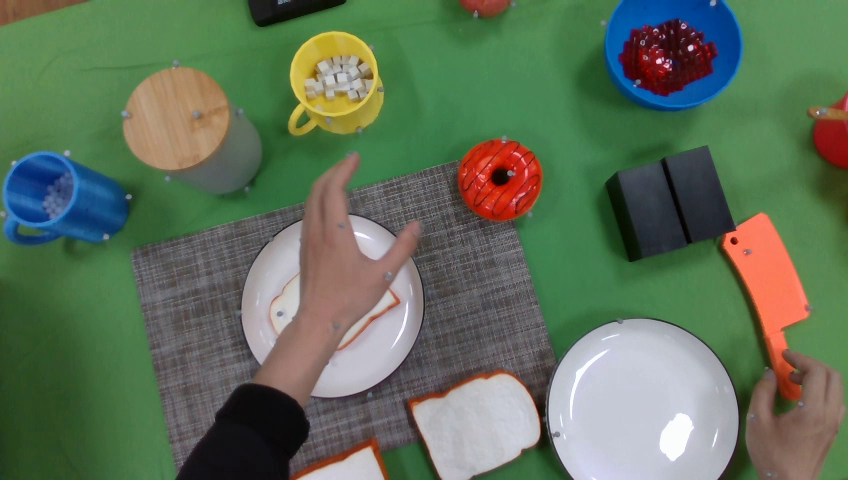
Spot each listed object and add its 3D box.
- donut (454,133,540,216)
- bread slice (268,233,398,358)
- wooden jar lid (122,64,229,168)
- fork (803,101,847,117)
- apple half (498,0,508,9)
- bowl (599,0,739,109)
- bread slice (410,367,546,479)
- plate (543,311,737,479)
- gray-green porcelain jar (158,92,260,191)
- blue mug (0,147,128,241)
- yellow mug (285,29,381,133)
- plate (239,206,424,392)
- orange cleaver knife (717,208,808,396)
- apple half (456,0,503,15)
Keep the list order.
[{"bbox_3d":[0.084,-0.076,0.700,0.099,0.048,0.099,0,84,2],"label":"donut"},{"bbox_3d":[-0.111,0.071,0.693,0.131,0.019,0.104,-41,83,-6],"label":"bread slice"},{"bbox_3d":[-0.250,-0.124,0.615,0.108,0.021,0.108,0,81,3],"label":"wooden jar lid"},{"bbox_3d":[0.451,-0.133,0.649,0.208,0.018,0.028,-2,81,-41],"label":"fork"},{"bbox_3d":[0.079,-0.320,0.720,0.080,0.075,0.053,40,80,10],"label":"apple half"},{"bbox_3d":[0.270,-0.214,0.699,0.151,0.077,0.151,0,83,2],"label":"bowl"},{"bbox_3d":[0.066,0.199,0.647,0.134,0.018,0.106,-21,79,-21],"label":"bread slice"},{"bbox_3d":[0.234,0.184,0.670,0.209,0.038,0.208,0,83,2],"label":"plate"},{"bbox_3d":[-0.248,-0.115,0.677,0.106,0.127,0.105,0,82,2],"label":"gray-green porcelain jar"},{"bbox_3d":[-0.413,-0.039,0.682,0.116,0.106,0.082,-41,83,-3],"label":"blue mug"},{"bbox_3d":[-0.115,-0.175,0.711,0.099,0.064,0.131,43,86,6],"label":"yellow mug"},{"bbox_3d":[-0.102,0.066,0.691,0.207,0.039,0.207,0,83,2],"label":"plate"},{"bbox_3d":[0.397,0.068,0.690,0.077,0.012,0.210,-14,81,-6],"label":"orange cleaver knife"},{"bbox_3d":[0.054,-0.291,0.715,0.081,0.081,0.033,40,81,7],"label":"apple half"}]
